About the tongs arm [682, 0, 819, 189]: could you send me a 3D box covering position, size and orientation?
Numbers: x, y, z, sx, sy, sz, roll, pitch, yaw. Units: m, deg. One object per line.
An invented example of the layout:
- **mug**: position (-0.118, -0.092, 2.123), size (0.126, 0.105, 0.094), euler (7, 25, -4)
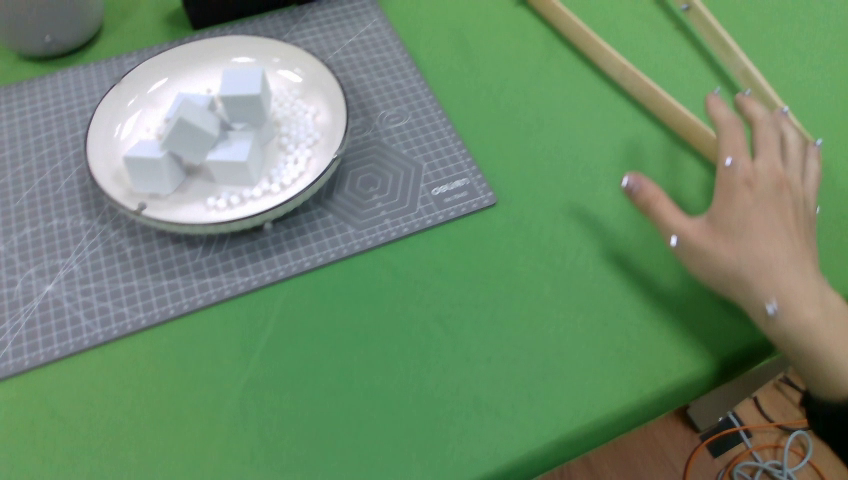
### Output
- **tongs arm**: position (0.251, -0.209, 0.573), size (0.051, 0.027, 0.381), euler (-18, 62, -8)

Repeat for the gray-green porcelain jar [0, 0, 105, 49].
- **gray-green porcelain jar**: position (-0.362, -0.248, 0.546), size (0.106, 0.127, 0.105), euler (0, 58, 1)

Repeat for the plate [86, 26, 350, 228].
- **plate**: position (-0.164, -0.094, 0.500), size (0.209, 0.038, 0.207), euler (0, 59, 0)

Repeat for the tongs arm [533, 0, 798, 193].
- **tongs arm**: position (0.176, -0.177, 0.561), size (0.028, 0.028, 0.384), euler (-29, 63, -17)
